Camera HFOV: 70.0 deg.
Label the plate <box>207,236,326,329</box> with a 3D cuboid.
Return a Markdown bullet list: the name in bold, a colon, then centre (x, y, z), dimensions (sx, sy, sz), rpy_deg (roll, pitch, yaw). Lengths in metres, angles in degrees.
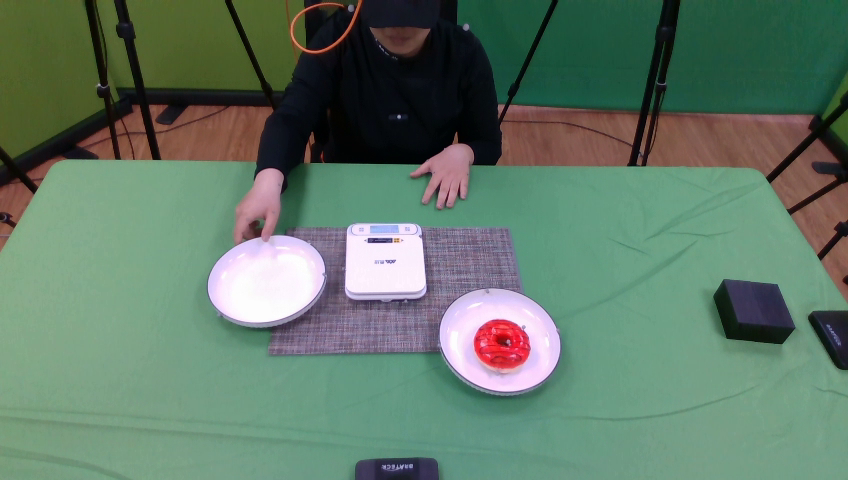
- **plate**: centre (-0.278, 0.078, 1.088), dimensions (0.208, 0.039, 0.206), rpy_deg (1, 46, 0)

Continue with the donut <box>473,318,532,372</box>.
- **donut**: centre (0.131, 0.174, 1.010), dimensions (0.099, 0.048, 0.098), rpy_deg (1, 48, -1)

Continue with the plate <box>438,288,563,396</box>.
- **plate**: centre (0.127, 0.173, 1.025), dimensions (0.209, 0.038, 0.208), rpy_deg (3, 48, -3)

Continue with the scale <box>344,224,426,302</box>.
- **scale**: centre (-0.075, 0.033, 1.149), dimensions (0.149, 0.032, 0.199), rpy_deg (0, 45, -5)
